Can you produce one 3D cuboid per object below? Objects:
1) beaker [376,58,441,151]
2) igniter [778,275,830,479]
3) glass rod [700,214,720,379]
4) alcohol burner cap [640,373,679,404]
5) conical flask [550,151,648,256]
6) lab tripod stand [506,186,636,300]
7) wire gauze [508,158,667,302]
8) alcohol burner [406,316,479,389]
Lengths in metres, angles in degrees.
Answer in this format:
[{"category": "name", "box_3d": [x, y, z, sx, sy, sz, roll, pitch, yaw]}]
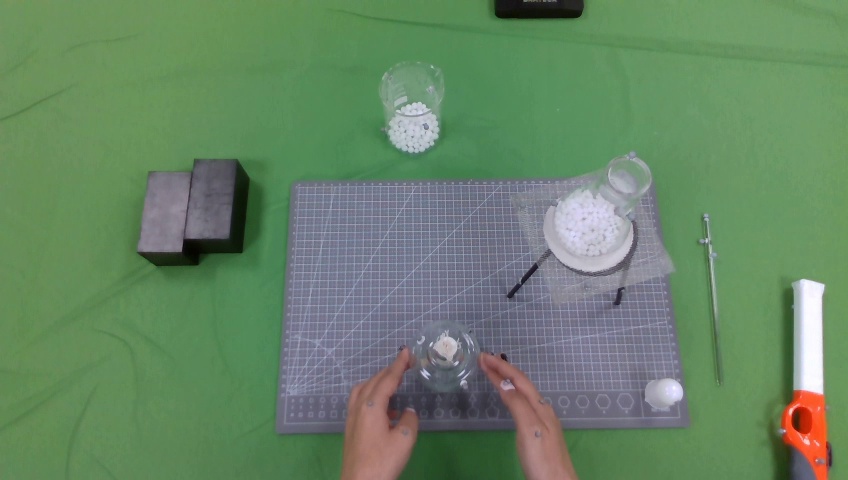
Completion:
[{"category": "beaker", "box_3d": [-0.015, -0.160, 0.731, 0.084, 0.101, 0.073, -40, 76, -13]}, {"category": "igniter", "box_3d": [0.414, 0.172, 0.660, 0.057, 0.025, 0.275, 14, 72, -6]}, {"category": "glass rod", "box_3d": [0.332, 0.062, 0.706, 0.008, 0.008, 0.198, 4, 71, 1]}, {"category": "alcohol burner cap", "box_3d": [0.257, 0.159, 0.653, 0.034, 0.048, 0.033, 0, 72, -1]}, {"category": "conical flask", "box_3d": [0.159, -0.035, 0.537, 0.075, 0.122, 0.075, 0, 73, 0]}, {"category": "lab tripod stand", "box_3d": [0.161, 0.012, 0.653, 0.148, 0.132, 0.147, 0, 73, 1]}, {"category": "wire gauze", "box_3d": [0.160, -0.011, 0.592, 0.125, 0.011, 0.120, -16, 75, -7]}, {"category": "alcohol burner", "box_3d": [0.020, 0.114, 0.629, 0.078, 0.119, 0.077, 1, 72, -1]}]
